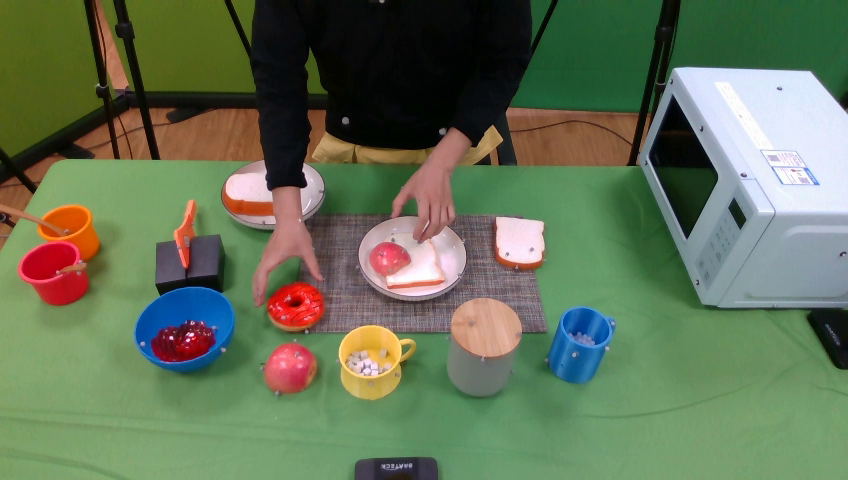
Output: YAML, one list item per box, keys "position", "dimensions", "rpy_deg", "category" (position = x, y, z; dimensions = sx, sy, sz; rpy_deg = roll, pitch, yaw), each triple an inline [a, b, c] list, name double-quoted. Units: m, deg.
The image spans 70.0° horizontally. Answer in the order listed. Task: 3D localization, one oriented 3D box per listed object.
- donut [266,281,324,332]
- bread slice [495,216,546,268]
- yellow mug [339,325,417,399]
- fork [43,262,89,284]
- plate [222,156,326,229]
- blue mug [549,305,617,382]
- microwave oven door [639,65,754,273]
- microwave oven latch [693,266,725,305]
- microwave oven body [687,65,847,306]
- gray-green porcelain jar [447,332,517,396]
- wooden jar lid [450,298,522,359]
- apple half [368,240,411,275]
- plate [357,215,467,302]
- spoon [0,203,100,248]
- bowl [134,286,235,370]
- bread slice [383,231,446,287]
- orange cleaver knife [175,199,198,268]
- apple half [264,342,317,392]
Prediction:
- position: [-0.221, 0.114, 1.049]
  dimensions: [0.099, 0.048, 0.098]
  rpy_deg: [2, 46, -2]
  category: "donut"
- position: [0.194, 0.002, 1.205]
  dimensions: [0.105, 0.019, 0.131]
  rpy_deg: [5, 45, 2]
  category: "bread slice"
- position: [-0.072, 0.190, 0.978]
  dimensions: [0.131, 0.064, 0.099]
  rpy_deg: [-17, 50, -20]
  category: "yellow mug"
- position: [-0.599, 0.053, 1.014]
  dimensions: [0.207, 0.019, 0.028]
  rpy_deg: [-14, 30, 45]
  category: "fork"
- position: [-0.307, -0.094, 1.251]
  dimensions: [0.209, 0.038, 0.208]
  rpy_deg: [2, 47, -2]
  category: "plate"
- position: [0.269, 0.166, 0.998]
  dimensions: [0.116, 0.106, 0.082]
  rpy_deg: [-19, 51, -21]
  category: "blue mug"
- position: [0.522, -0.147, 1.192]
  dimensions: [0.039, 0.245, 0.353]
  rpy_deg: [0, 47, -3]
  category: "microwave oven door"
- position: [0.523, 0.082, 1.115]
  dimensions: [0.030, 0.029, 0.078]
  rpy_deg: [3, 46, 0]
  category: "microwave oven latch"
- position: [0.669, -0.111, 1.176]
  dimensions: [0.326, 0.261, 0.439]
  rpy_deg: [0, 46, -3]
  category: "microwave oven body"
- position: [0.091, 0.178, 0.960]
  dimensions: [0.106, 0.127, 0.105]
  rpy_deg: [2, 46, -2]
  category: "gray-green porcelain jar"
- position: [0.093, 0.135, 0.914]
  dimensions: [0.108, 0.021, 0.107]
  rpy_deg: [2, 48, -3]
  category: "wooden jar lid"
- position: [-0.067, 0.024, 1.121]
  dimensions: [0.081, 0.033, 0.081]
  rpy_deg: [1, 48, -1]
  category: "apple half"
- position: [-0.022, 0.037, 1.142]
  dimensions: [0.208, 0.039, 0.206]
  rpy_deg: [2, 46, -2]
  category: "plate"
- position: [-0.683, -0.031, 1.088]
  dimensions: [0.195, 0.021, 0.041]
  rpy_deg: [33, 33, -38]
  category: "spoon"
- position: [-0.377, 0.155, 0.981]
  dimensions: [0.151, 0.077, 0.150]
  rpy_deg: [2, 46, -2]
  category: "bowl"
- position: [-0.027, 0.034, 1.143]
  dimensions: [0.107, 0.018, 0.133]
  rpy_deg: [-8, 45, -11]
  category: "bread slice"
- position: [-0.438, -0.017, 1.138]
  dimensions: [0.012, 0.077, 0.210]
  rpy_deg: [-14, 27, -7]
  category: "orange cleaver knife"
- position: [-0.214, 0.198, 0.970]
  dimensions: [0.074, 0.053, 0.080]
  rpy_deg: [19, 48, 10]
  category: "apple half"
